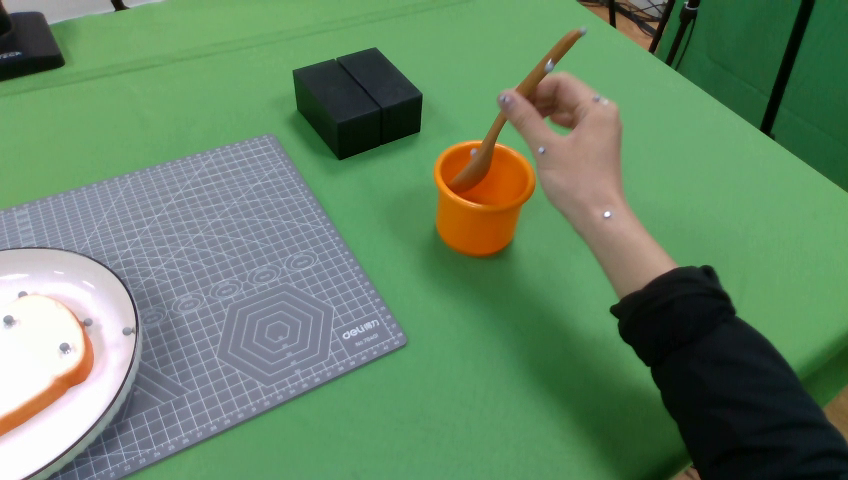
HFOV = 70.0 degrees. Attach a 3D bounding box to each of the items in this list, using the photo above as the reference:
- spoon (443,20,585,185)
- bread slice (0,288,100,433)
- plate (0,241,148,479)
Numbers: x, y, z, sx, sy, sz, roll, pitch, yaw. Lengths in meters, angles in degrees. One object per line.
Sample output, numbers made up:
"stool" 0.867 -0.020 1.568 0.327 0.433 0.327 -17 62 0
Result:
"spoon" 0.066 -0.100 0.484 0.042 0.194 0.021 -15 64 -34
"bread slice" -0.312 0.089 0.440 0.104 0.019 0.131 39 58 24
"plate" -0.307 0.091 0.436 0.209 0.038 0.207 3 50 -4
